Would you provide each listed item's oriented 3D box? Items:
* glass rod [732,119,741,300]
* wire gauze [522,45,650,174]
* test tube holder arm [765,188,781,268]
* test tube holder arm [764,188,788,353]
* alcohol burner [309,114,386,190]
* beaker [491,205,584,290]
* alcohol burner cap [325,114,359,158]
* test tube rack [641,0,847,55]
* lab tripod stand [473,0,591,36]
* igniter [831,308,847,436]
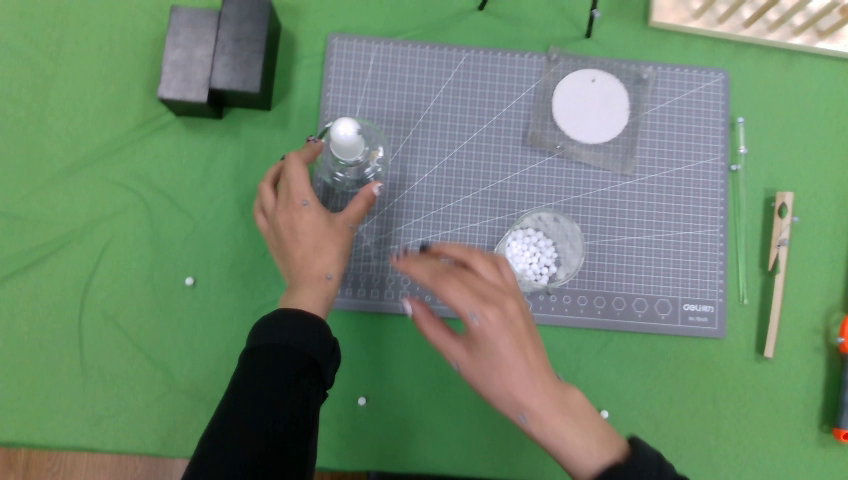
[{"bbox_3d":[0.342,-0.034,0.662,0.008,0.008,0.199,2,85,-2],"label":"glass rod"},{"bbox_3d":[0.179,-0.147,0.668,0.125,0.011,0.121,15,83,-1],"label":"wire gauze"},{"bbox_3d":[0.379,-0.013,0.656,0.010,0.015,0.087,3,81,33],"label":"test tube holder arm"},{"bbox_3d":[0.377,0.032,0.648,0.013,0.015,0.178,3,81,33],"label":"test tube holder arm"},{"bbox_3d":[-0.078,-0.092,0.597,0.078,0.119,0.077,0,81,0],"label":"alcohol burner"},{"bbox_3d":[0.104,0.012,0.598,0.084,0.100,0.073,-4,82,-2],"label":"beaker"},{"bbox_3d":[-0.076,-0.099,0.562,0.034,0.048,0.033,1,78,-6],"label":"alcohol burner cap"},{"bbox_3d":[0.372,-0.267,0.655,0.242,0.085,0.066,8,82,-1],"label":"test tube rack"},{"bbox_3d":[0.127,-0.288,0.624,0.148,0.131,0.148,0,84,-1],"label":"lab tripod stand"},{"bbox_3d":[0.468,0.071,0.643,0.057,0.025,0.275,14,82,-10],"label":"igniter"}]
